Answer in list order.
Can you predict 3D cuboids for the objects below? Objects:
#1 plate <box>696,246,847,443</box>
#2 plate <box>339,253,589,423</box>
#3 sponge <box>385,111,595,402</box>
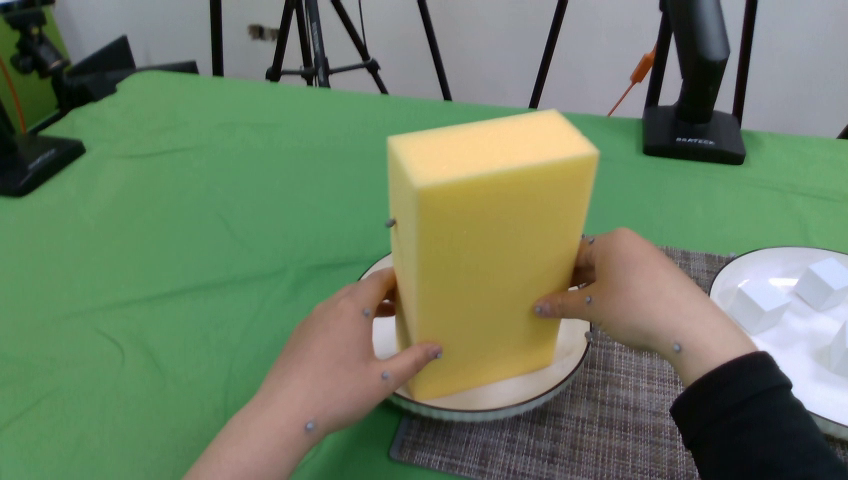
[{"bbox_3d":[0.331,0.084,0.496,0.208,0.039,0.205,-1,39,1],"label":"plate"},{"bbox_3d":[0.033,0.073,0.519,0.209,0.038,0.207,-1,39,1],"label":"plate"},{"bbox_3d":[0.037,0.020,0.435,0.118,0.208,0.060,-11,43,-15],"label":"sponge"}]
